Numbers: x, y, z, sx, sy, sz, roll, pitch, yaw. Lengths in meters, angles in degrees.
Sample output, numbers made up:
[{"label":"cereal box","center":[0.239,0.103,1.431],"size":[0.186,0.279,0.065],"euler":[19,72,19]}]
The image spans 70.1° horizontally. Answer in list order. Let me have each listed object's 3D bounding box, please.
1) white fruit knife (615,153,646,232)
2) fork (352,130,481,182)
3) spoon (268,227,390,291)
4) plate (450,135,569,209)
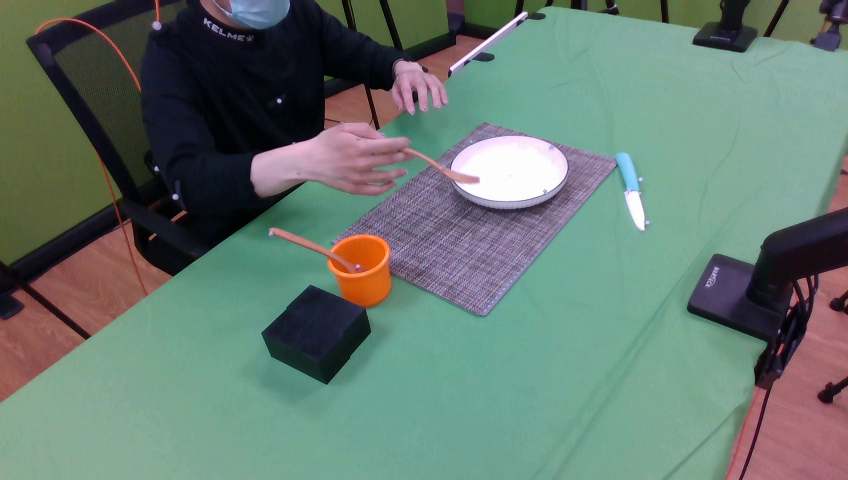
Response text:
[{"label":"white fruit knife","center":[0.352,-0.084,1.023],"size":[0.027,0.016,0.206],"euler":[-19,40,23]},{"label":"fork","center":[-0.010,-0.129,0.925],"size":[0.208,0.018,0.028],"euler":[21,45,-11]},{"label":"spoon","center":[-0.132,0.025,0.862],"size":[0.021,0.195,0.041],"euler":[-41,31,32]},{"label":"plate","center":[0.149,-0.117,1.066],"size":[0.209,0.038,0.208],"euler":[-3,41,4]}]
